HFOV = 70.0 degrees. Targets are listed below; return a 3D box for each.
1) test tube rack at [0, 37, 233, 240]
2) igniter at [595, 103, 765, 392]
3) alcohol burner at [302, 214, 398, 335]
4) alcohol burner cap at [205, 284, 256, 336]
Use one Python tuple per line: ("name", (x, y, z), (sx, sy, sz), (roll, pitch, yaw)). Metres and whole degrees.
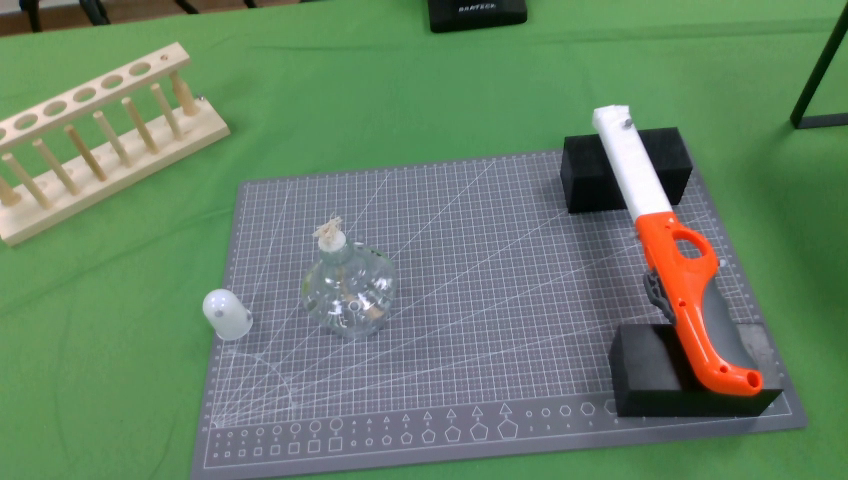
("test tube rack", (-0.329, -0.105, 0.614), (0.242, 0.086, 0.066), (-32, 58, -17))
("igniter", (0.184, -0.010, 0.466), (0.057, 0.025, 0.273), (-9, 52, 1))
("alcohol burner", (-0.061, 0.023, 0.473), (0.078, 0.120, 0.077), (-3, 52, 4))
("alcohol burner cap", (-0.163, 0.055, 0.504), (0.034, 0.048, 0.033), (-3, 55, 5))
